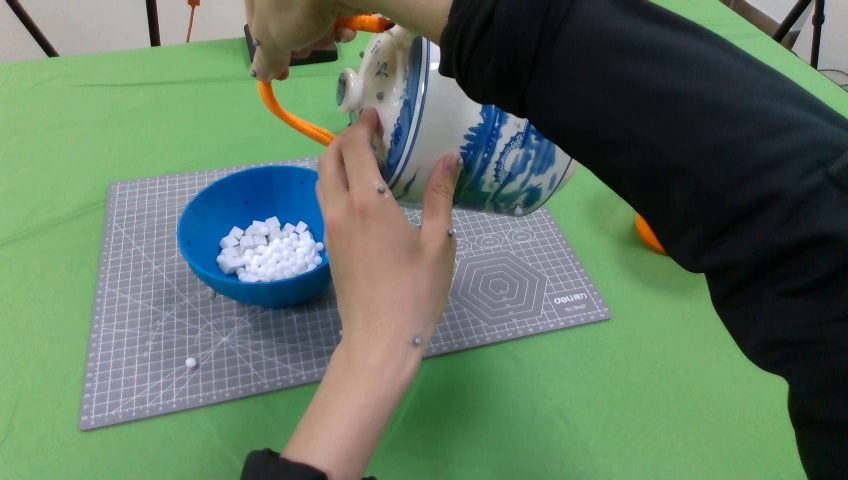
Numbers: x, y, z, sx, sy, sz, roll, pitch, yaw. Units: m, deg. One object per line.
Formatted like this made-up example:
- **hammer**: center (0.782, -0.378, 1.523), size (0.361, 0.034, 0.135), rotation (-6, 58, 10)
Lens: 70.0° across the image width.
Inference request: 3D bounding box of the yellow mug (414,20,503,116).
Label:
- **yellow mug**: center (0.033, -0.192, 0.692), size (0.099, 0.064, 0.130), rotation (15, 49, 12)

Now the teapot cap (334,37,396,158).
- **teapot cap**: center (-0.040, -0.101, 0.426), size (0.044, 0.085, 0.084), rotation (2, 43, -22)

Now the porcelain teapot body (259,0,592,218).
- **porcelain teapot body**: center (-0.014, -0.080, 0.461), size (0.226, 0.206, 0.143), rotation (5, 50, -24)

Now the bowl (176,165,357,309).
- **bowl**: center (-0.133, 0.009, 0.542), size (0.151, 0.077, 0.150), rotation (2, 45, -1)

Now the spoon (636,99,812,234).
- **spoon**: center (0.295, -0.071, 0.598), size (0.022, 0.194, 0.041), rotation (29, 27, -41)
